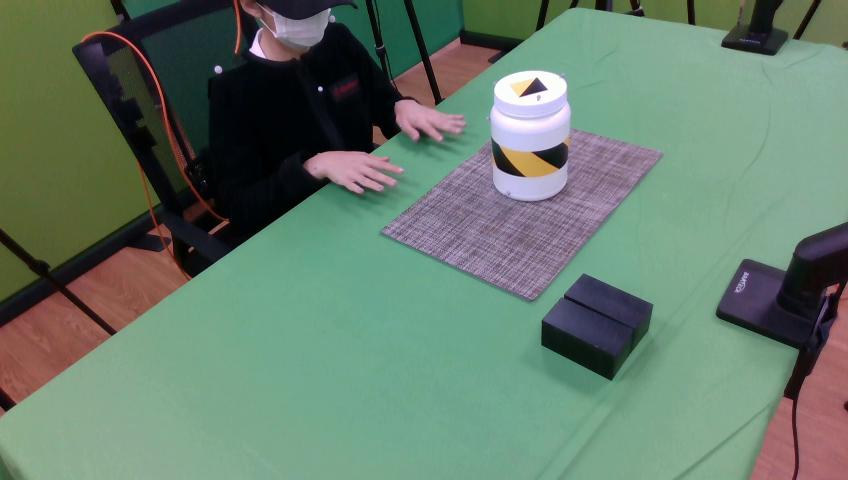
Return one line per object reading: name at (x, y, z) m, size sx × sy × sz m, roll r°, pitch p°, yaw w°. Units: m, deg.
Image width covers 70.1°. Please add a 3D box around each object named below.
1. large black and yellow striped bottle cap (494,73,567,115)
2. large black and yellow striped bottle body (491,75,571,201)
large black and yellow striped bottle cap at (0.169, -0.235, 0.964) m, size 0.115 × 0.019 × 0.114 m, roll -5°, pitch 39°, yaw 5°
large black and yellow striped bottle body at (0.179, -0.172, 1.019) m, size 0.131 × 0.185 × 0.130 m, roll -5°, pitch 41°, yaw 5°
